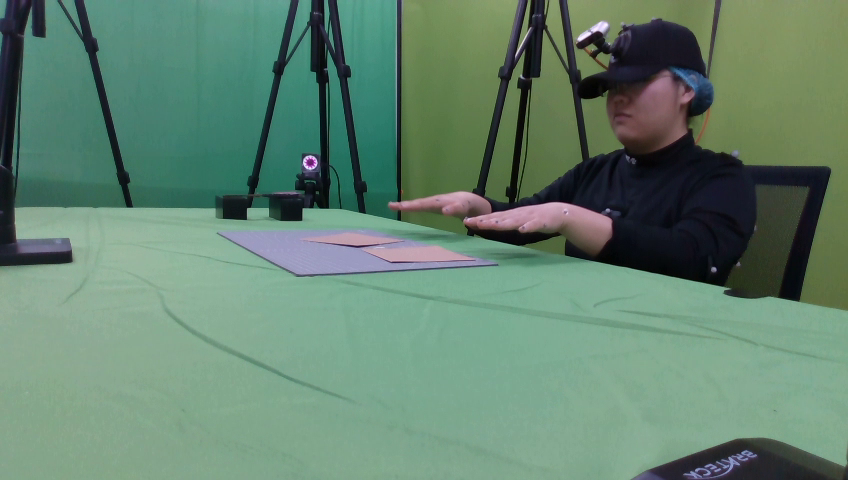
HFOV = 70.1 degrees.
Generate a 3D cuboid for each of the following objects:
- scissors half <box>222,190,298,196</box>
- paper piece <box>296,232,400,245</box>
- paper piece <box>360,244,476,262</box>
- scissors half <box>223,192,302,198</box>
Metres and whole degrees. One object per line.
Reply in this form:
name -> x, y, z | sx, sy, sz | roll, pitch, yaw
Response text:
scissors half -> -0.372, -0.105, 1.380 | 0.176, 0.013, 0.040 | -6, 18, -38
paper piece -> -0.127, -0.003, 1.052 | 0.135, 0.004, 0.136 | 7, 8, 32
paper piece -> -0.012, 0.020, 0.914 | 0.136, 0.008, 0.137 | -4, 10, -24
scissors half -> -0.362, -0.100, 1.364 | 0.176, 0.013, 0.040 | -2, 11, -23
